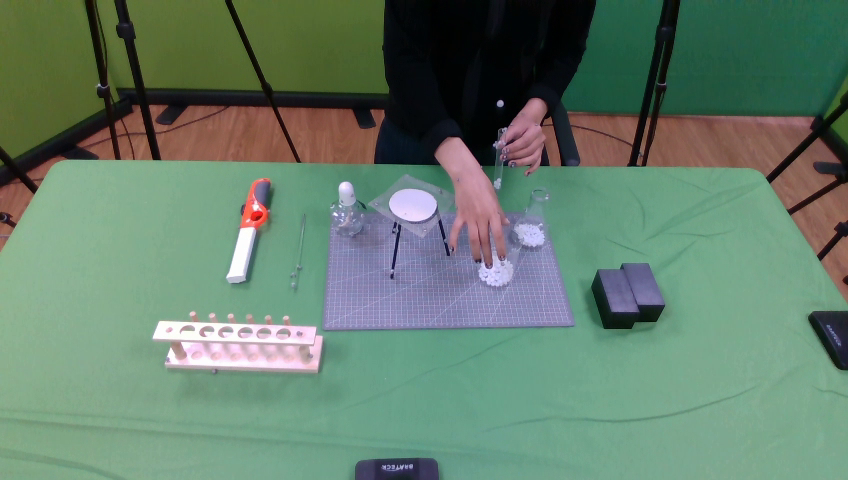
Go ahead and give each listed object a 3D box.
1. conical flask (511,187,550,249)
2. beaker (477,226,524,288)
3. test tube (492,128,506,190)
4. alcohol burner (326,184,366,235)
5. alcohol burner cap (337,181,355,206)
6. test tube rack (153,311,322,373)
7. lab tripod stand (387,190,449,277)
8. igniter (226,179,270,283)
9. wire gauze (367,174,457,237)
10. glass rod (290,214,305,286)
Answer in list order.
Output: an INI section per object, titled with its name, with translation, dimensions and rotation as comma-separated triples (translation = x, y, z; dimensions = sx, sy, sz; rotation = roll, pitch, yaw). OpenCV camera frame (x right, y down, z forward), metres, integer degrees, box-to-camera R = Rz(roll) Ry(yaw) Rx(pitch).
[conical flask]
translation = 0.217, -0.048, 1.190
dimensions = 0.075, 0.122, 0.075
rotation = 2, 46, -2
[beaker]
translation = 0.139, 0.033, 1.121
dimensions = 0.084, 0.101, 0.073
rotation = -12, 48, -16
[test tube]
translation = 0.140, -0.149, 1.135
dimensions = 0.017, 0.151, 0.017
rotation = -1, 51, 1
[alcohol burner]
translation = -0.152, -0.066, 1.184
dimensions = 0.078, 0.119, 0.077
rotation = 4, 46, -4
[alcohol burner cap]
translation = -0.151, -0.090, 1.157
dimensions = 0.034, 0.048, 0.033
rotation = 0, 52, 0
[test tube rack]
translation = -0.293, 0.160, 0.978
dimensions = 0.242, 0.085, 0.066
rotation = 3, 46, -2
[lab tripod stand]
translation = -0.021, -0.018, 1.135
dimensions = 0.148, 0.132, 0.147
rotation = 3, 44, -3
[igniter]
translation = -0.345, -0.027, 1.195
dimensions = 0.057, 0.025, 0.274
rotation = -6, 46, 5
[wire gauze]
translation = -0.020, -0.067, 1.089
dimensions = 0.124, 0.011, 0.121
rotation = 28, 49, 21
[glass rod]
translation = -0.245, 0.015, 1.175
dimensions = 0.008, 0.008, 0.198
rotation = 1, 43, -3
